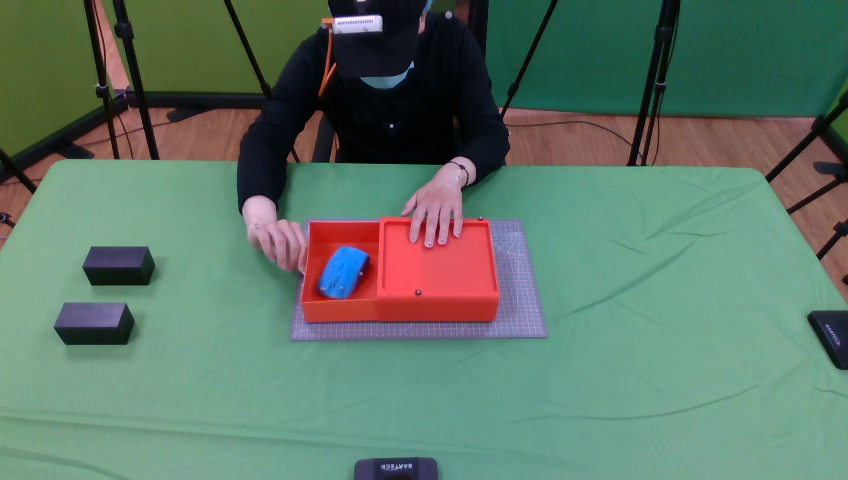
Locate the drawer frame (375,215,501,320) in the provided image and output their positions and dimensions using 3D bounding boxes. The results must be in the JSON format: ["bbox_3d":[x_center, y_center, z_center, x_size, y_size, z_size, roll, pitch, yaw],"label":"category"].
[{"bbox_3d":[0.020,0.049,1.102,0.214,0.083,0.200,1,46,-4],"label":"drawer frame"}]

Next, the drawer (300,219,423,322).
[{"bbox_3d":[-0.109,0.049,1.093,0.212,0.073,0.193,-1,46,-3],"label":"drawer"}]

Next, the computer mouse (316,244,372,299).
[{"bbox_3d":[-0.146,0.054,1.107,0.062,0.041,0.117,21,55,12],"label":"computer mouse"}]
